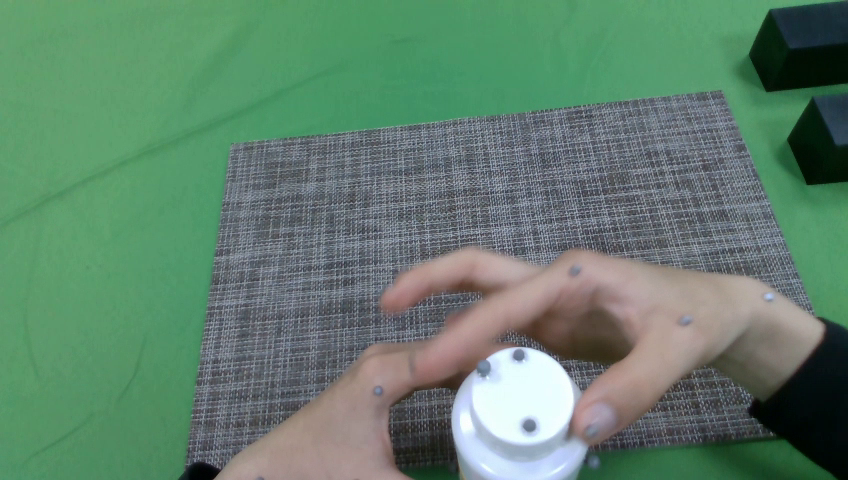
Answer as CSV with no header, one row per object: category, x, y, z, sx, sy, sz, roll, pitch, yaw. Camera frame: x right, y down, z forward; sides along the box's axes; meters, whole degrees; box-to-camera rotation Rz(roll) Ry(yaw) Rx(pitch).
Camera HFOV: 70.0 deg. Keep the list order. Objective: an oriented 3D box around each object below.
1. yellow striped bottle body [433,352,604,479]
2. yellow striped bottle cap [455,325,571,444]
yellow striped bottle body,0.046,0.101,0.303,0.062,0.121,0.062,-17,44,18
yellow striped bottle cap,0.035,0.057,0.239,0.044,0.019,0.044,-2,62,3
